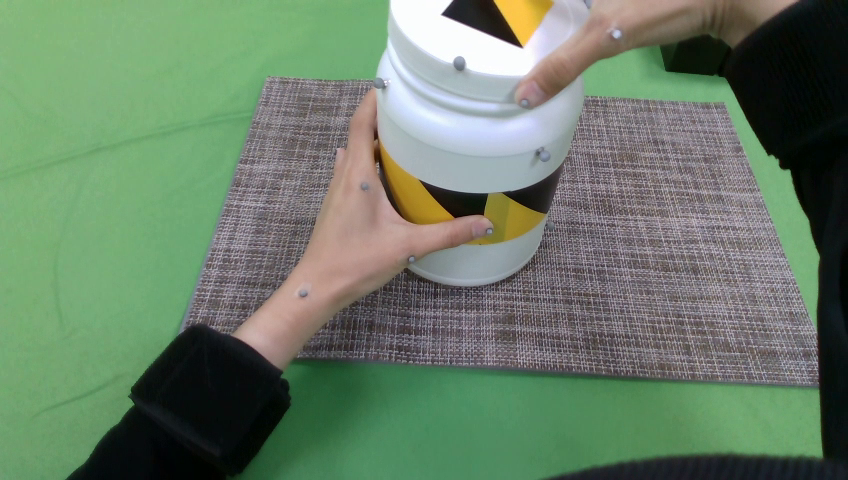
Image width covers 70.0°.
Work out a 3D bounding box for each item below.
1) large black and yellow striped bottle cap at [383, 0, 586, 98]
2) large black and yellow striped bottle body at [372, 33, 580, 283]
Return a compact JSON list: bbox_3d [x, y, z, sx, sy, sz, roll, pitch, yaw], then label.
[{"bbox_3d":[0.034,-0.126,0.344,0.115,0.019,0.114,4,55,-5],"label":"large black and yellow striped bottle cap"},{"bbox_3d":[0.031,-0.071,0.414,0.131,0.185,0.129,2,52,-2],"label":"large black and yellow striped bottle body"}]
